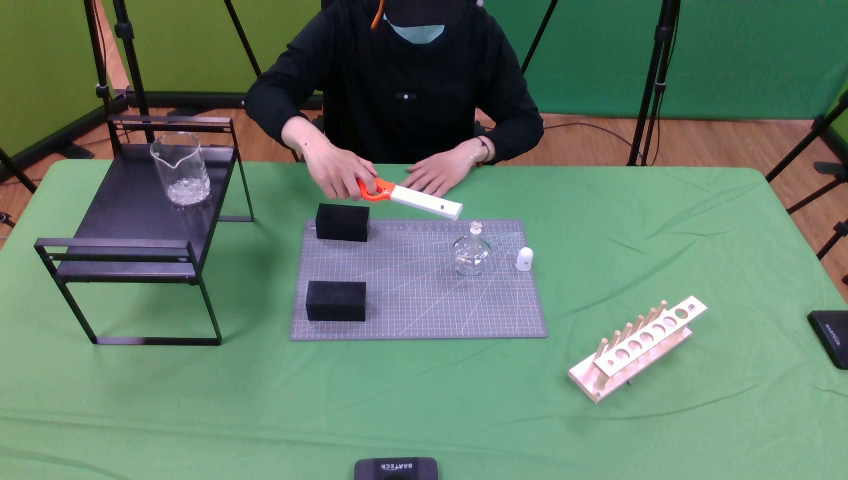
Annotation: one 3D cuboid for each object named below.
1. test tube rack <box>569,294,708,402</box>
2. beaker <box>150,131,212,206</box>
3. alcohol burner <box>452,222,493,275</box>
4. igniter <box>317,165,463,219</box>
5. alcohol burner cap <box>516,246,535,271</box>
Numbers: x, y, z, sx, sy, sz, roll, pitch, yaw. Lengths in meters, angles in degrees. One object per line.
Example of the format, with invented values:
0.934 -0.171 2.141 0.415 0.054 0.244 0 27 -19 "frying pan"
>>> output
0.360 0.167 1.015 0.242 0.085 0.066 -25 52 -25 "test tube rack"
-0.385 -0.110 0.969 0.074 0.101 0.083 -6 48 -9 "beaker"
0.091 0.009 1.124 0.078 0.119 0.077 2 48 -2 "alcohol burner"
-0.065 -0.089 1.088 0.276 0.025 0.057 17 57 16 "igniter"
0.195 0.032 1.158 0.034 0.048 0.033 2 45 -2 "alcohol burner cap"
